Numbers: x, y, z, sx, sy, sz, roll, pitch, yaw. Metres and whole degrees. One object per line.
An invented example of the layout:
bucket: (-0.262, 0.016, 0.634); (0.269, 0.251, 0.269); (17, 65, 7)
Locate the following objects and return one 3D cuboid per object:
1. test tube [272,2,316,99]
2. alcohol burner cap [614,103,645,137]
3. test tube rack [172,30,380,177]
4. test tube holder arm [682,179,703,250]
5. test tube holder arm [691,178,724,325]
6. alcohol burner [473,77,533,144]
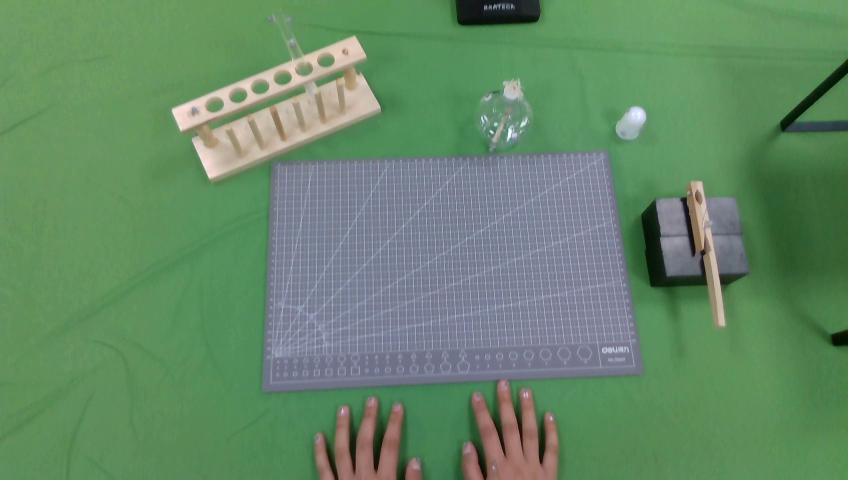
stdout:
test tube: (-0.153, -0.226, 0.740); (0.017, 0.151, 0.017); (-3, 62, 7)
alcohol burner cap: (0.277, -0.163, 0.810); (0.034, 0.048, 0.033); (0, 71, 0)
test tube rack: (-0.182, -0.173, 0.776); (0.242, 0.085, 0.066); (-25, 74, -9)
test tube holder arm: (0.325, -0.031, 0.730); (0.010, 0.015, 0.087); (-3, 74, -3)
test tube holder arm: (0.333, 0.011, 0.718); (0.013, 0.015, 0.177); (-3, 74, -4)
alcohol burner: (0.103, -0.172, 0.770); (0.078, 0.119, 0.077); (1, 73, -2)
